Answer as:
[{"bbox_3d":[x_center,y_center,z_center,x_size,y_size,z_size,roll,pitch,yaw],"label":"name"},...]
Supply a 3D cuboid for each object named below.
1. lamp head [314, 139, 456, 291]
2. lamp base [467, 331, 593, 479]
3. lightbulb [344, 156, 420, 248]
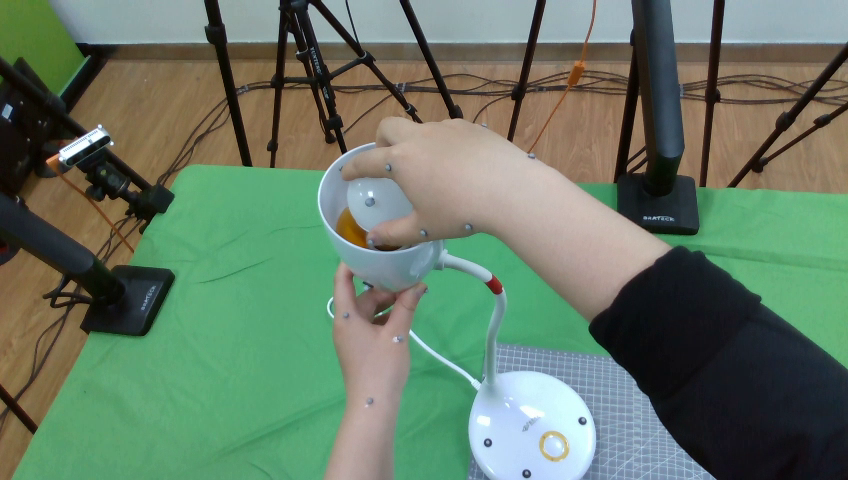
[{"bbox_3d":[-0.027,-0.008,0.523,0.112,0.124,0.111,-3,57,4],"label":"lamp head"},{"bbox_3d":[0.114,0.187,0.720,0.177,0.182,0.160,28,62,29],"label":"lamp base"},{"bbox_3d":[-0.033,-0.023,0.495,0.059,0.108,0.059,1,60,-1],"label":"lightbulb"}]
